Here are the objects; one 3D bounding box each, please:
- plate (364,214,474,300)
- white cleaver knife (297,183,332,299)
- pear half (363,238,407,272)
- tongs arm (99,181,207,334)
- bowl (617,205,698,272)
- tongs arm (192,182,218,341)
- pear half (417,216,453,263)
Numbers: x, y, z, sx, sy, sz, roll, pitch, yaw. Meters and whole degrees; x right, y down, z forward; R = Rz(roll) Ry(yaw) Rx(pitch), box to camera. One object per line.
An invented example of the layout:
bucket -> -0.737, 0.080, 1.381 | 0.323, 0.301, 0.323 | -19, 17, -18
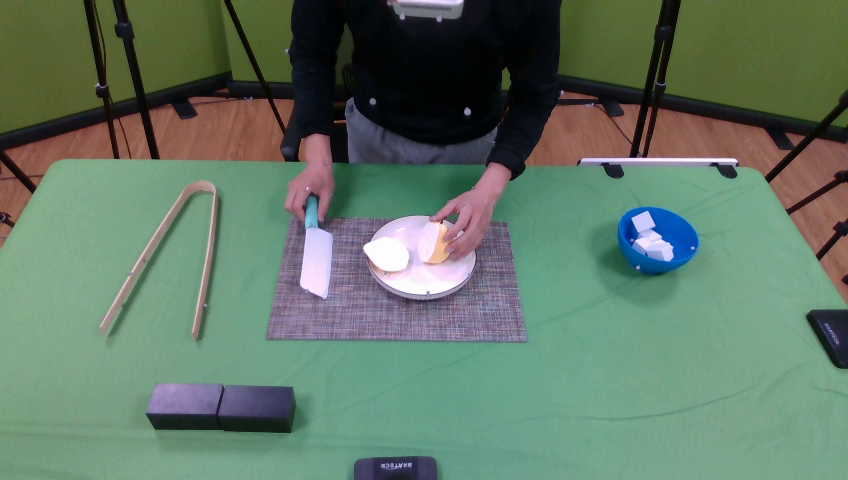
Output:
plate -> -0.010, 0.036, 1.147 | 0.208, 0.039, 0.206 | 2, 46, -2
white cleaver knife -> -0.209, -0.004, 1.171 | 0.066, 0.021, 0.284 | 26, 41, -30
pear half -> -0.077, 0.032, 1.137 | 0.088, 0.031, 0.070 | 17, 46, -13
tongs arm -> -0.493, 0.018, 1.132 | 0.051, 0.026, 0.382 | 7, 45, 0
bowl -> 0.442, 0.010, 1.181 | 0.151, 0.077, 0.150 | 2, 46, -2
tongs arm -> -0.413, 0.025, 1.140 | 0.028, 0.028, 0.385 | -5, 47, -7
pear half -> 0.030, -0.006, 1.128 | 0.056, 0.110, 0.076 | -2, 54, -25
